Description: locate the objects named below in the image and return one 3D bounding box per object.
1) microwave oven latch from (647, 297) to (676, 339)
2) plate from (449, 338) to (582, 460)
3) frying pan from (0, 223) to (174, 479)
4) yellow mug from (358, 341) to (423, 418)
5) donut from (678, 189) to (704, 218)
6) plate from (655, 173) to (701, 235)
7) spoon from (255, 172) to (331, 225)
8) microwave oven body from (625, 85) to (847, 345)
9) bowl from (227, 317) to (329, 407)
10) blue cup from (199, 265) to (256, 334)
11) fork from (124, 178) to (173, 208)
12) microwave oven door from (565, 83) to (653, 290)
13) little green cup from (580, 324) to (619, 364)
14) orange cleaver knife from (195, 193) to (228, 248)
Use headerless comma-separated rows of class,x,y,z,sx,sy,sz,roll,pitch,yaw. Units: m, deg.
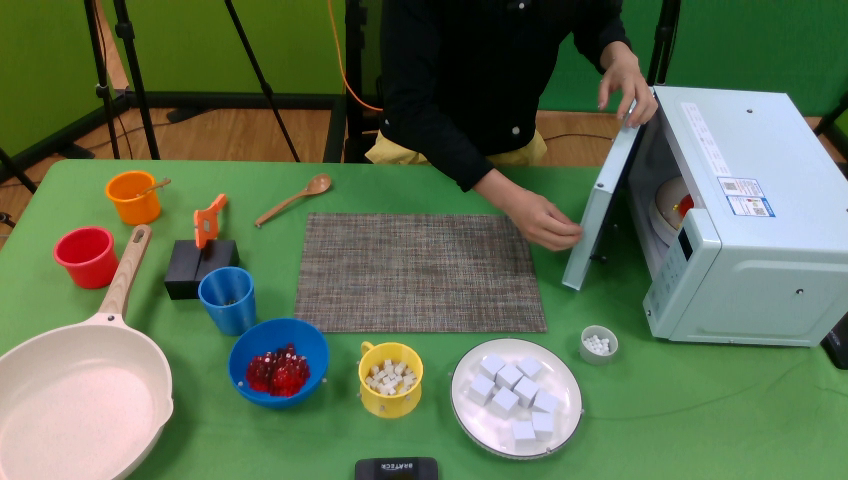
microwave oven latch,0.413,0.134,1.060,0.030,0.029,0.078,4,46,2
plate,0.141,0.251,0.955,0.208,0.039,0.206,2,47,-2
frying pan,-0.505,0.169,0.941,0.307,0.103,0.485,5,54,-1
yellow mug,-0.063,0.210,0.961,0.100,0.064,0.130,-29,54,-27
donut,0.543,-0.060,1.173,0.099,0.048,0.098,1,43,-1
plate,0.555,-0.052,1.187,0.209,0.038,0.208,2,46,-2
spoon,-0.272,-0.087,1.257,0.041,0.022,0.193,43,57,17
microwave oven body,0.569,-0.054,1.116,0.326,0.261,0.439,2,46,-1
bowl,-0.222,0.203,0.947,0.151,0.077,0.150,2,46,-2
blue cup,-0.321,0.107,1.014,0.093,0.101,0.092,2,48,-2
fork,-0.525,-0.090,1.154,0.207,0.019,0.028,-17,27,45
microwave oven door,0.356,-0.110,1.147,0.039,0.245,0.354,20,49,15
little green cup,0.296,0.179,1.032,0.061,0.039,0.061,2,44,-2
orange cleaver knife,-0.406,-0.041,1.163,0.012,0.077,0.210,0,18,-3
